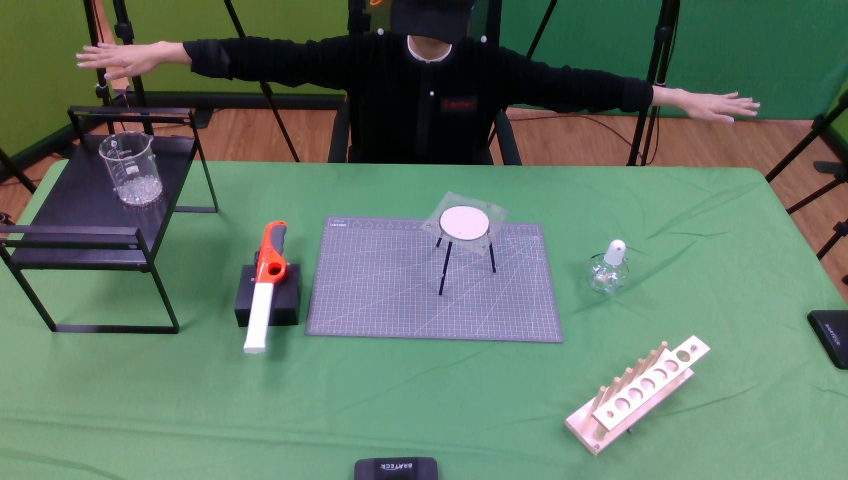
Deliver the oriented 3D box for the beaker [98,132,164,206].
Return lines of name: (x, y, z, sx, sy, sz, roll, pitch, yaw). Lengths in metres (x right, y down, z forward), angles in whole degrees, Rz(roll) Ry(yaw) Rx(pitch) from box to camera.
beaker: (-0.460, -0.112, 0.968, 0.073, 0.101, 0.084, 37, 54, 28)

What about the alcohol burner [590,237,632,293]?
alcohol burner: (0.348, 0.040, 1.114, 0.078, 0.119, 0.077, 3, 44, -2)

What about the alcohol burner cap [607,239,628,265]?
alcohol burner cap: (0.351, 0.019, 1.091, 0.034, 0.048, 0.033, 1, 45, -1)

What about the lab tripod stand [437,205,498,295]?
lab tripod stand: (0.066, 0.010, 1.107, 0.148, 0.132, 0.147, 0, 46, 0)

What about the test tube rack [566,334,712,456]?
test tube rack: (0.339, 0.228, 0.950, 0.242, 0.085, 0.066, -26, 52, -26)

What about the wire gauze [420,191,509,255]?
wire gauze: (0.072, -0.035, 1.058, 0.125, 0.011, 0.121, 21, 48, 18)

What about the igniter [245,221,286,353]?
igniter: (-0.270, 0.070, 1.040, 0.057, 0.025, 0.274, 2, 48, -6)
